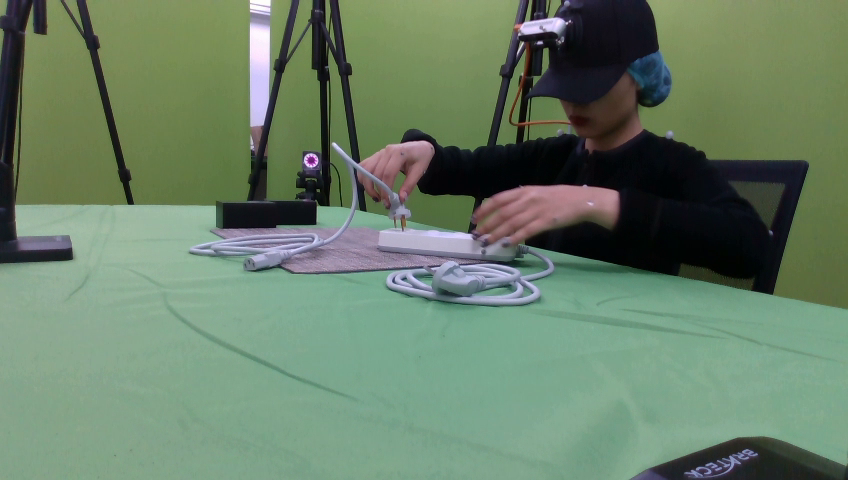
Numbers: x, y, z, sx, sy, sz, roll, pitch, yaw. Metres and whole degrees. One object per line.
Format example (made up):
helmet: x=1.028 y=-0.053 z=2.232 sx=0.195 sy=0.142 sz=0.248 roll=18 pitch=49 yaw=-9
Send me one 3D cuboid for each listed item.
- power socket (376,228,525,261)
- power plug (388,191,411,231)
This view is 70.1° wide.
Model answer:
power socket: x=0.037 y=0.005 z=0.913 sx=0.226 sy=0.032 sz=0.072 roll=5 pitch=8 yaw=16
power plug: x=-0.046 y=-0.042 z=0.910 sx=0.035 sy=0.052 sz=0.073 roll=-13 pitch=-11 yaw=23
